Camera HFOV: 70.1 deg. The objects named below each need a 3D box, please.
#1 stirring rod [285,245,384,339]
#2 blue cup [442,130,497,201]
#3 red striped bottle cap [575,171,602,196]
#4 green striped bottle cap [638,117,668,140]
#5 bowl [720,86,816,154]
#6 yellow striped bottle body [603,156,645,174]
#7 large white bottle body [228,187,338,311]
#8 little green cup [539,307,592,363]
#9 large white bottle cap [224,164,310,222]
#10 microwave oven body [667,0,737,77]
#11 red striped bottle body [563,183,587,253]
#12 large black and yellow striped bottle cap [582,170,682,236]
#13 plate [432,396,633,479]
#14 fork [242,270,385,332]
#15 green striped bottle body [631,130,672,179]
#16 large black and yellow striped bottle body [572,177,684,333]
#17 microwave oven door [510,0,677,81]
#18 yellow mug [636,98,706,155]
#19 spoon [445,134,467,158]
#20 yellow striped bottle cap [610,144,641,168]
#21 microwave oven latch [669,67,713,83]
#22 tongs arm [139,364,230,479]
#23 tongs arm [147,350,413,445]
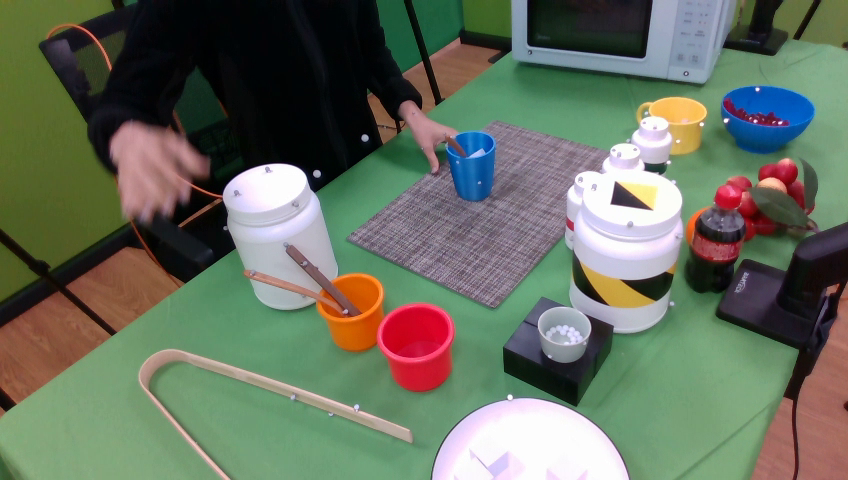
[{"bbox_3d":[-0.121,0.071,0.819,0.176,0.006,0.014,44,51,-6],"label":"stirring rod"},{"bbox_3d":[0.084,-0.123,1.041,0.092,0.100,0.092,-4,43,4],"label":"blue cup"},{"bbox_3d":[0.242,-0.082,0.876,0.044,0.018,0.044,-5,44,5],"label":"red striped bottle cap"},{"bbox_3d":[0.369,-0.180,0.974,0.044,0.020,0.044,-4,41,4],"label":"green striped bottle cap"},{"bbox_3d":[0.605,-0.206,1.082,0.151,0.077,0.150,-5,40,5],"label":"bowl"},{"bbox_3d":[0.313,-0.089,0.956,0.063,0.121,0.062,-4,39,4],"label":"yellow striped bottle body"},{"bbox_3d":[-0.207,-0.002,0.884,0.130,0.185,0.130,-4,40,4],"label":"large white bottle body"},{"bbox_3d":[0.168,0.115,0.721,0.061,0.039,0.061,-4,42,4],"label":"little green cup"},{"bbox_3d":[-0.215,-0.066,0.829,0.115,0.018,0.114,-4,40,4],"label":"large white bottle cap"},{"bbox_3d":[0.462,-0.552,1.368,0.439,0.261,0.326,15,45,26],"label":"microwave oven body"},{"bbox_3d":[0.246,-0.041,0.910,0.063,0.120,0.062,-2,38,2],"label":"red striped bottle body"},{"bbox_3d":[0.252,-0.048,0.735,0.115,0.019,0.114,-3,40,3],"label":"large black and yellow striped bottle cap"},{"bbox_3d":[0.112,0.261,0.634,0.209,0.038,0.208,-5,40,4],"label":"plate"},{"bbox_3d":[-0.142,0.082,0.802,0.209,0.018,0.028,28,38,-26],"label":"fork"},{"bbox_3d":[0.375,-0.140,1.007,0.063,0.120,0.063,-5,40,5],"label":"green striped bottle body"},{"bbox_3d":[0.262,0.017,0.788,0.131,0.185,0.130,-5,40,4],"label":"large black and yellow striped bottle body"},{"bbox_3d":[0.354,-0.478,1.290,0.353,0.245,0.039,15,45,25],"label":"microwave oven door"},{"bbox_3d":[0.453,-0.217,1.128,0.100,0.064,0.129,-34,46,-27],"label":"yellow mug"},{"bbox_3d":[0.064,-0.130,0.994,0.041,0.195,0.021,20,78,24],"label":"spoon"},{"bbox_3d":[0.307,-0.128,0.923,0.044,0.019,0.044,-6,39,5],"label":"yellow striped bottle cap"},{"bbox_3d":[0.556,-0.349,1.261,0.078,0.029,0.030,16,46,27],"label":"microwave oven latch"},{"bbox_3d":[-0.240,0.254,0.707,0.384,0.028,0.028,27,59,34],"label":"tongs arm"},{"bbox_3d":[-0.193,0.200,0.757,0.382,0.026,0.051,14,49,24],"label":"tongs arm"}]
